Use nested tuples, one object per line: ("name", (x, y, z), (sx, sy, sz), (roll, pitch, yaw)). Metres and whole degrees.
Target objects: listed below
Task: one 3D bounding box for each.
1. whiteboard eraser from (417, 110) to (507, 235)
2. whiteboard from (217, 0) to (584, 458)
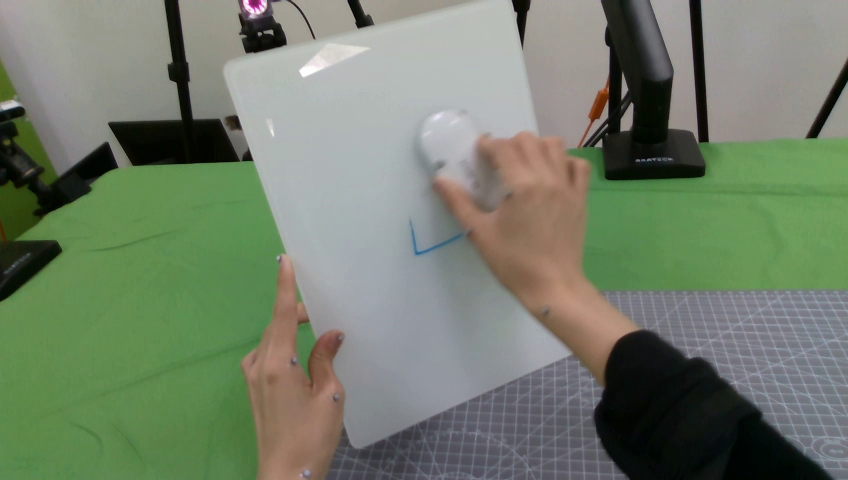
("whiteboard eraser", (0.029, -0.049, 0.454), (0.041, 0.102, 0.018), (-34, 21, -14))
("whiteboard", (-0.019, -0.019, 0.523), (0.217, 0.307, 0.143), (-20, 15, -15))
